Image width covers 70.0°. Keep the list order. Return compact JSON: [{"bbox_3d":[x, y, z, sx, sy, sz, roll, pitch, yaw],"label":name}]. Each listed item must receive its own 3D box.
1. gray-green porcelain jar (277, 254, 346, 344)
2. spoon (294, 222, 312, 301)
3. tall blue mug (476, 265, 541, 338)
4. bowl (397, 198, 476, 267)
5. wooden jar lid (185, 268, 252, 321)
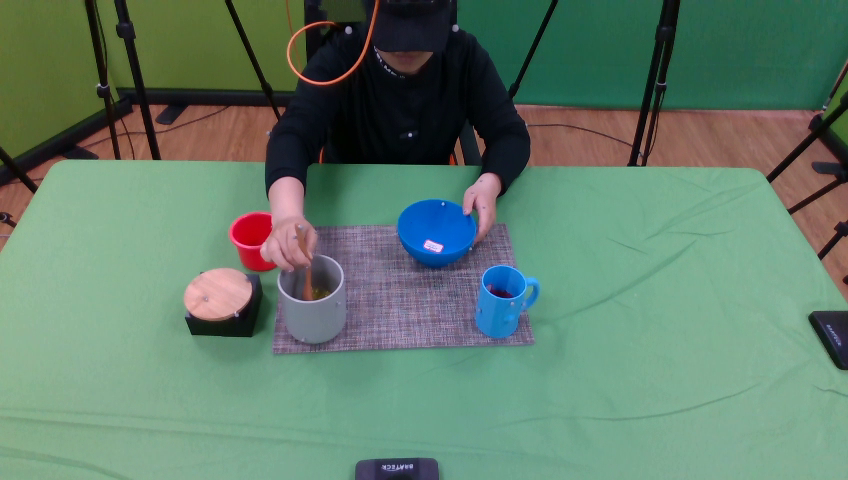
[{"bbox_3d":[-0.184,0.103,1.008,0.106,0.127,0.105,2,45,-2],"label":"gray-green porcelain jar"},{"bbox_3d":[-0.193,0.050,0.984,0.021,0.194,0.041,-21,41,-29],"label":"spoon"},{"bbox_3d":[0.142,0.099,1.047,0.077,0.108,0.107,33,52,27],"label":"tall blue mug"},{"bbox_3d":[0.022,-0.001,1.157,0.151,0.077,0.150,2,46,-2],"label":"bowl"},{"bbox_3d":[-0.343,0.093,1.015,0.108,0.021,0.107,3,46,-3],"label":"wooden jar lid"}]
